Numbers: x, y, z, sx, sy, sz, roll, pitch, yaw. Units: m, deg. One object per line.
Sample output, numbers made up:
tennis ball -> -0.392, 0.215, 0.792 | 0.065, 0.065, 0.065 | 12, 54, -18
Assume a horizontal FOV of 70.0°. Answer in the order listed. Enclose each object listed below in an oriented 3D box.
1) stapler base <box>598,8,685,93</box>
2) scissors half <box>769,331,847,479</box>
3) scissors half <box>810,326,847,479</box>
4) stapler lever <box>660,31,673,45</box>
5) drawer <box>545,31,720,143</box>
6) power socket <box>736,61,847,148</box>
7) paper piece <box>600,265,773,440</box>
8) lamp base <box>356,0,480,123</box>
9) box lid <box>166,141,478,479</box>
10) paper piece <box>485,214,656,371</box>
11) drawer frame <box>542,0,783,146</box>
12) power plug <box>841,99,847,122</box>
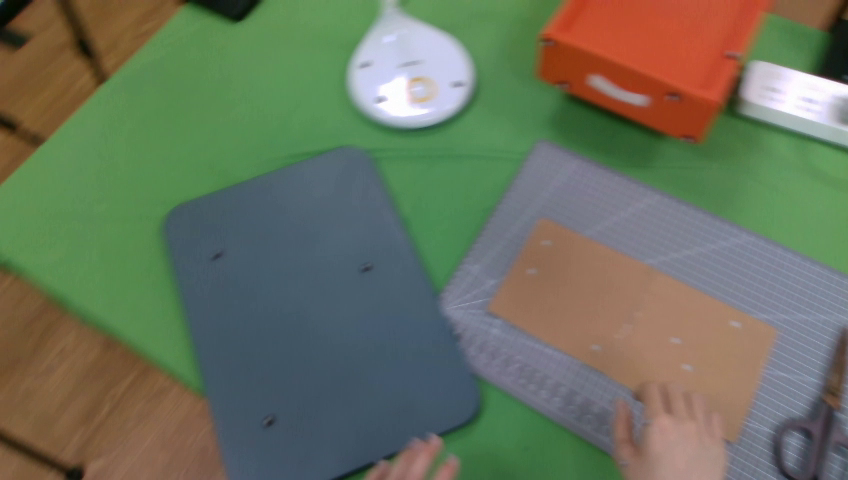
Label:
stapler base -> 0.257, -0.231, 0.718 | 0.041, 0.024, 0.129 | -32, 63, 6
scissors half -> 0.383, 0.154, 0.593 | 0.039, 0.013, 0.175 | 27, 68, 33
scissors half -> 0.400, 0.160, 0.583 | 0.040, 0.013, 0.174 | 12, 61, 21
stapler lever -> 0.246, -0.241, 0.695 | 0.027, 0.040, 0.117 | -32, 61, 6
drawer -> 0.277, -0.242, 0.702 | 0.193, 0.074, 0.211 | 30, 68, 17
power socket -> 0.494, -0.152, 0.723 | 0.226, 0.033, 0.072 | 23, 68, 13
paper piece -> 0.270, 0.110, 0.619 | 0.134, 0.004, 0.135 | 29, 69, 16
lamp base -> -0.018, -0.261, 0.722 | 0.161, 0.182, 0.177 | -22, 62, -8
box lid -> -0.124, 0.069, 0.662 | 0.263, 0.015, 0.368 | -22, 65, -6
paper piece -> 0.158, 0.050, 0.655 | 0.135, 0.009, 0.138 | 27, 70, 19
drawer frame -> 0.277, -0.244, 0.703 | 0.200, 0.083, 0.213 | 29, 68, 17
power plug -> 0.489, -0.135, 0.689 | 0.035, 0.053, 0.072 | 33, 71, 17
